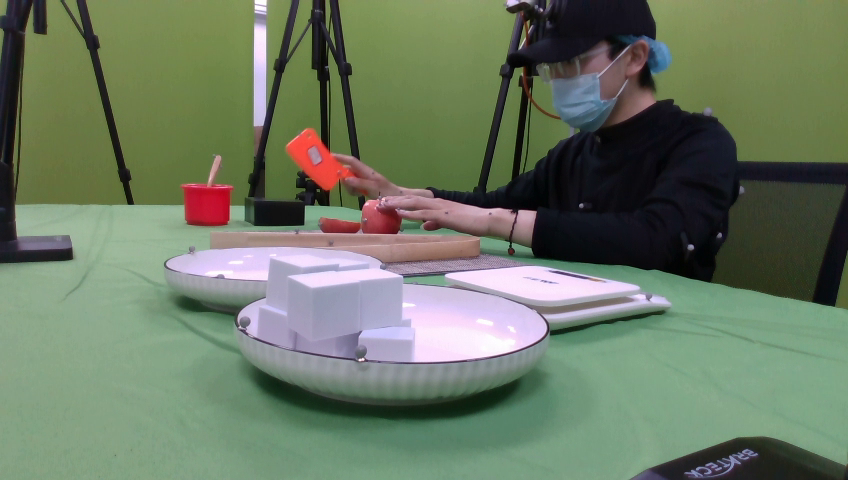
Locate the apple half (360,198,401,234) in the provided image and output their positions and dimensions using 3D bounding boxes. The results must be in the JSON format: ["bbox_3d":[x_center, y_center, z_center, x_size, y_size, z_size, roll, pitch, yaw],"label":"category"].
[{"bbox_3d":[-0.066,-0.032,1.014,0.053,0.074,0.081,9,6,20],"label":"apple half"}]

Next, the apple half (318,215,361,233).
[{"bbox_3d":[-0.147,-0.019,1.035,0.081,0.033,0.081,10,-6,1],"label":"apple half"}]

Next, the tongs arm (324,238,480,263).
[{"bbox_3d":[-0.070,0.017,0.801,0.390,0.028,0.028,-2,5,-34],"label":"tongs arm"}]

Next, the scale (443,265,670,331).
[{"bbox_3d":[0.131,0.052,0.603,0.202,0.031,0.148,-2,9,-37],"label":"scale"}]

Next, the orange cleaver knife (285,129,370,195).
[{"bbox_3d":[-0.193,-0.141,1.229,0.012,0.077,0.212,14,-21,49],"label":"orange cleaver knife"}]

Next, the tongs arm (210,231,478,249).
[{"bbox_3d":[-0.106,0.004,0.876,0.386,0.026,0.050,0,7,-20],"label":"tongs arm"}]

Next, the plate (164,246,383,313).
[{"bbox_3d":[-0.145,0.038,0.600,0.209,0.038,0.209,2,7,0],"label":"plate"}]

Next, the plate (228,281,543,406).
[{"bbox_3d":[-0.025,0.067,0.413,0.208,0.039,0.207,3,7,0],"label":"plate"}]

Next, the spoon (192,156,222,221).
[{"bbox_3d":[-0.430,-0.108,1.222,0.041,0.021,0.193,-1,52,1],"label":"spoon"}]
